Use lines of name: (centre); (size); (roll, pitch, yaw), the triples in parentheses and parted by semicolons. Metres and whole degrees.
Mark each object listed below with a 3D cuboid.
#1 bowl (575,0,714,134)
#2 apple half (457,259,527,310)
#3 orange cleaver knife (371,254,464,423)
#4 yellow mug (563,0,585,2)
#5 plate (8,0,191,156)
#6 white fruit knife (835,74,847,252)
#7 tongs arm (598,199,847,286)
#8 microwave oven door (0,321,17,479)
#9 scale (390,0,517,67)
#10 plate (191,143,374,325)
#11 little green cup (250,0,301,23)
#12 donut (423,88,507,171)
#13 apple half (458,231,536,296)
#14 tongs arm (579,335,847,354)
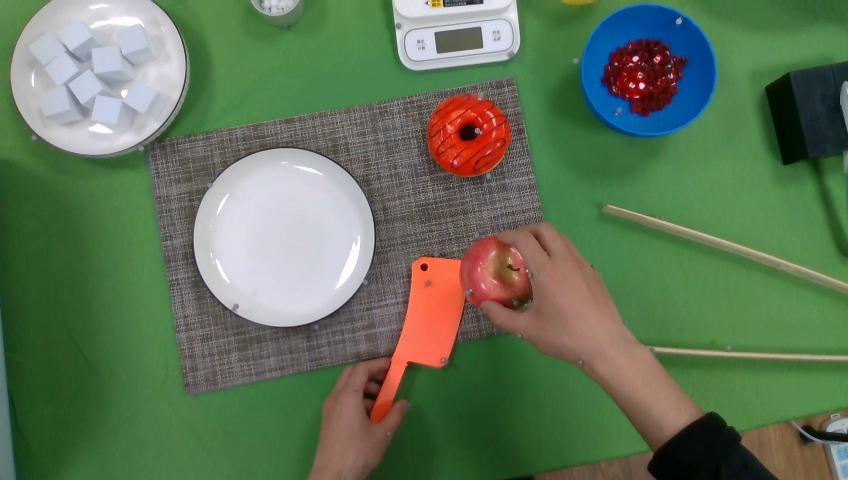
bowl: (0.243, -0.189, 0.700); (0.151, 0.077, 0.151); (0, 86, 0)
apple half: (0.062, 0.052, 0.613); (0.081, 0.081, 0.032); (29, 75, 2)
orange cleaver knife: (-0.004, 0.112, 0.701); (0.077, 0.012, 0.211); (18, 84, -6)
yellow mug: (0.173, -0.357, 0.718); (0.100, 0.064, 0.130); (-43, 86, -3)
plate: (-0.377, -0.200, 0.718); (0.208, 0.039, 0.207); (0, 86, 0)
white fruit knife: (0.485, -0.084, 0.692); (0.016, 0.027, 0.208); (-13, 100, -1)
tongs arm: (0.389, 0.021, 0.707); (0.387, 0.028, 0.028); (19, 79, 2)
microwave oven door: (-0.494, 0.131, 0.573); (0.039, 0.244, 0.355); (-9, 85, 0)
scale: (0.030, -0.316, 0.732); (0.149, 0.031, 0.200); (-7, 86, 0)
plate: (-0.160, -0.007, 0.701); (0.209, 0.038, 0.208); (0, 86, 0)
little green cup: (-0.177, -0.292, 0.726); (0.061, 0.039, 0.061); (0, 85, 0)
donut: (0.048, -0.129, 0.708); (0.099, 0.048, 0.099); (0, 86, 2)
apple half: (0.080, 0.020, 0.622); (0.081, 0.075, 0.053); (30, 75, 1)
tongs arm: (0.374, 0.106, 0.698); (0.385, 0.026, 0.050); (5, 82, 0)
